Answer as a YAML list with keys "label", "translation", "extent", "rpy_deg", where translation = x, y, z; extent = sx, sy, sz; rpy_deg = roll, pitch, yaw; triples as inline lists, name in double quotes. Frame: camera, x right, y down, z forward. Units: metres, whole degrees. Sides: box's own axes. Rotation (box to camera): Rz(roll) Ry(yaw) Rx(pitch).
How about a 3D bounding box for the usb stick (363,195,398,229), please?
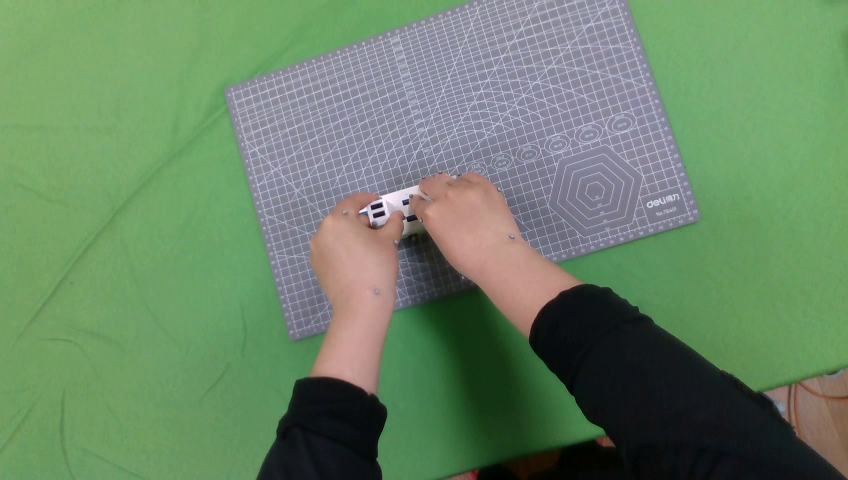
- label: "usb stick"
  translation: [-0.042, -0.027, 0.616]
  extent: [0.021, 0.059, 0.027]
  rpy_deg: [-19, 80, 8]

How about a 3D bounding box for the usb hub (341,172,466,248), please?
- label: "usb hub"
  translation: [-0.022, -0.032, 0.644]
  extent: [0.125, 0.025, 0.049]
  rpy_deg: [-16, 83, 7]
